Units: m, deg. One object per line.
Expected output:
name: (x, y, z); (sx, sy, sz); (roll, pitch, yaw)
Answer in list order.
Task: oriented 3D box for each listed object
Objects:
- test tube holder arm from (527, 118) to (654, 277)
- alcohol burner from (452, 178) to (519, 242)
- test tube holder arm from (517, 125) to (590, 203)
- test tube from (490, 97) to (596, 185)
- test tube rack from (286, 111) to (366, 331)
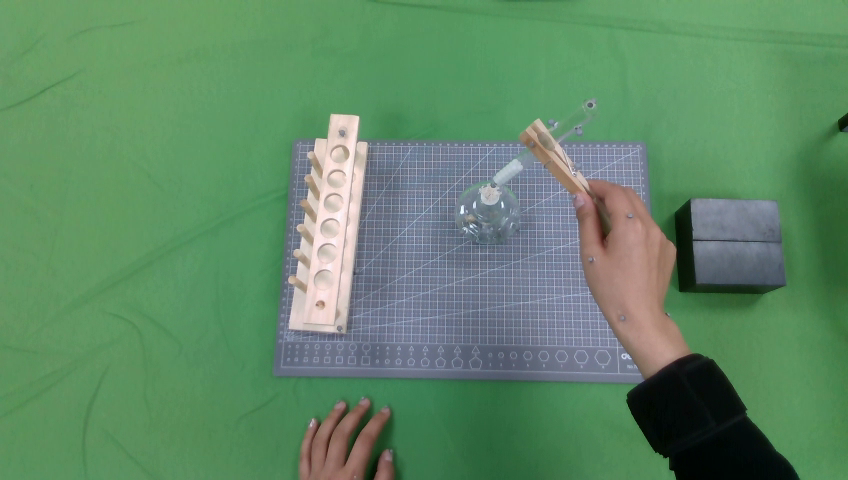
test tube holder arm: (0.152, -0.038, 0.554); (0.013, 0.015, 0.178); (-41, 93, -26)
alcohol burner: (0.071, -0.039, 0.691); (0.078, 0.119, 0.077); (0, 77, 2)
test tube holder arm: (0.119, -0.068, 0.549); (0.088, 0.015, 0.010); (45, 64, -6)
test tube: (0.103, -0.086, 0.554); (0.017, 0.150, 0.017); (10, 67, -23)
test tube rack: (-0.118, -0.021, 0.705); (0.067, 0.085, 0.241); (4, 76, 2)
